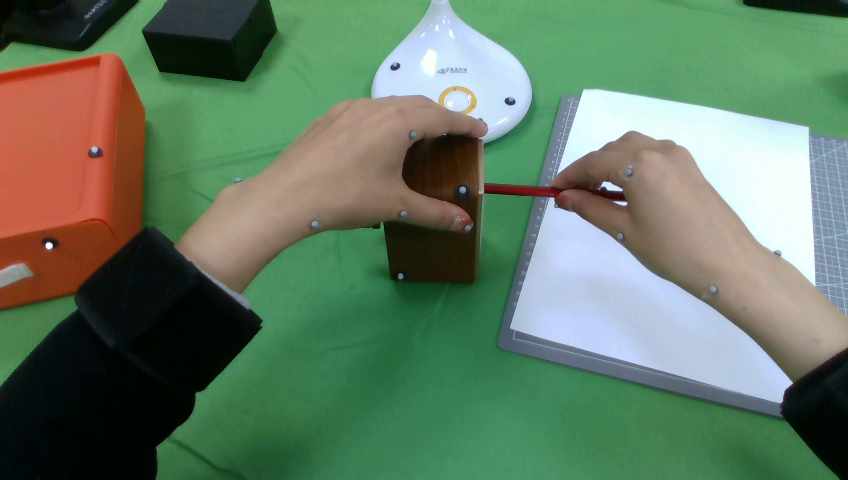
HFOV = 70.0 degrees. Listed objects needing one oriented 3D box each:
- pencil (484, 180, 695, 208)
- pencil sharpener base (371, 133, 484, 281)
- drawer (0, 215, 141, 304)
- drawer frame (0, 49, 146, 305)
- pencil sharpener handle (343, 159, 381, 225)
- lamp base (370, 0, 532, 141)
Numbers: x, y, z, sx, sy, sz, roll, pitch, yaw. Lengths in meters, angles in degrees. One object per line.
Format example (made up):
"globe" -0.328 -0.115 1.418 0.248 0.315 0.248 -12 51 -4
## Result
"pencil" 0.091 -0.035 0.426 0.194 0.012 0.012 5 51 1
"pencil sharpener base" 0.004 -0.022 0.451 0.076 0.108 0.061 0 52 2
"drawer" -0.342 -0.048 0.501 0.195 0.074 0.209 -13 51 -7
"drawer frame" -0.345 -0.050 0.501 0.202 0.083 0.211 -13 52 -8
"pencil sharpener handle" -0.048 -0.031 0.444 0.030 0.068 0.035 0 59 3
"lamp base" 0.021 -0.209 0.553 0.161 0.182 0.177 -12 50 -8
